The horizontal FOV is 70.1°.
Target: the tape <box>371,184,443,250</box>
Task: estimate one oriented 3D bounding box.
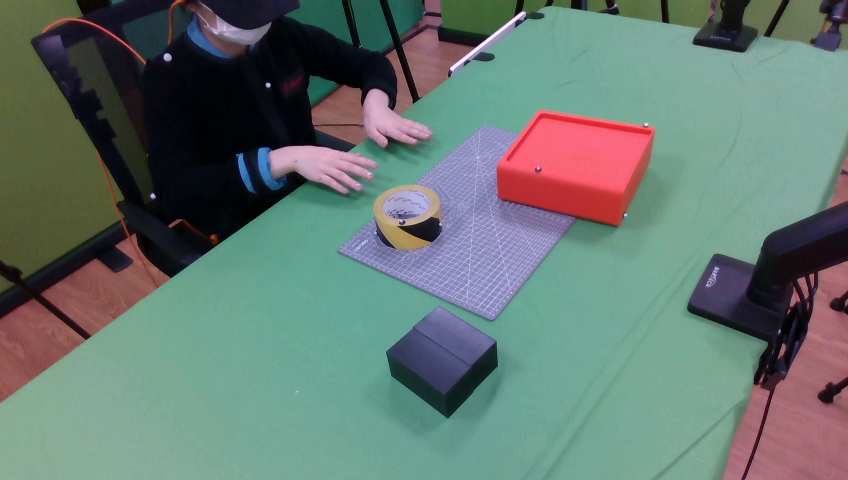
[{"bbox_3d":[-0.028,-0.039,0.990,0.117,0.053,0.116,-4,40,4],"label":"tape"}]

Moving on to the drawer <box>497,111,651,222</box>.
[{"bbox_3d":[0.257,-0.132,1.034,0.210,0.073,0.195,16,45,24],"label":"drawer"}]

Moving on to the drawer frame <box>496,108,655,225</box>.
[{"bbox_3d":[0.259,-0.132,1.034,0.212,0.083,0.202,16,45,24],"label":"drawer frame"}]
